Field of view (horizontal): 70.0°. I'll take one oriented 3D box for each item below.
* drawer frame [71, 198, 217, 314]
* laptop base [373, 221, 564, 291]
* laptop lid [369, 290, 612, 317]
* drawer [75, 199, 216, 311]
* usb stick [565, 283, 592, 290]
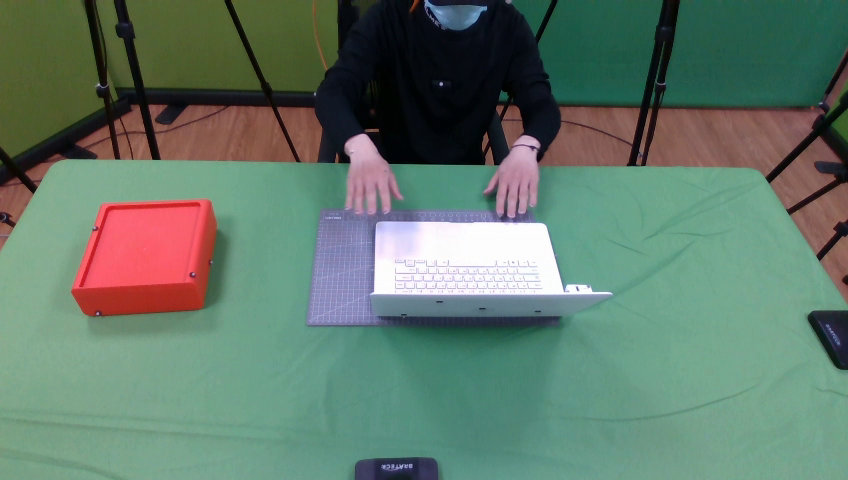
[{"bbox_3d":[-0.493,0.023,1.095,0.202,0.083,0.212,-3,47,-8],"label":"drawer frame"},{"bbox_3d":[0.080,0.050,1.158,0.355,0.023,0.234,0,43,-4],"label":"laptop base"},{"bbox_3d":[0.091,0.104,0.965,0.357,0.242,0.013,1,75,-5],"label":"laptop lid"},{"bbox_3d":[-0.494,0.022,1.097,0.195,0.073,0.210,-2,47,-8],"label":"drawer"},{"bbox_3d":[0.276,0.095,1.113,0.059,0.027,0.021,-1,47,-6],"label":"usb stick"}]
